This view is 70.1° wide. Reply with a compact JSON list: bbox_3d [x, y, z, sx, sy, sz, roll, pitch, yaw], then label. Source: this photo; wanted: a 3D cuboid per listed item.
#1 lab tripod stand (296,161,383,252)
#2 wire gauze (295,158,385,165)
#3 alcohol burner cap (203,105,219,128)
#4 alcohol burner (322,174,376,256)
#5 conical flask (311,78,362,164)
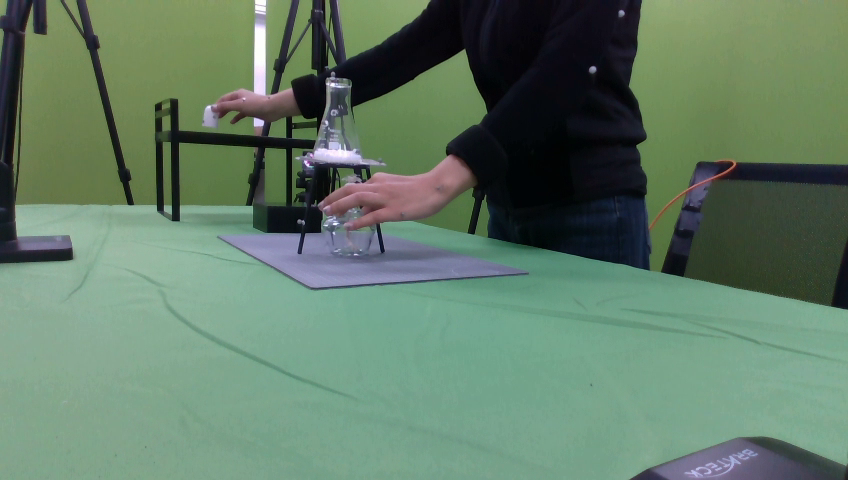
[{"bbox_3d":[-0.130,-0.050,0.903,0.148,0.131,0.148,4,9,0],"label":"lab tripod stand"},{"bbox_3d":[-0.128,-0.117,0.901,0.125,0.011,0.121,-2,8,-14],"label":"wire gauze"},{"bbox_3d":[-0.448,-0.261,1.276,0.034,0.048,0.034,7,8,-1],"label":"alcohol burner cap"},{"bbox_3d":[-0.108,-0.036,0.874,0.078,0.119,0.078,4,7,0],"label":"alcohol burner"},{"bbox_3d":[-0.127,-0.174,0.890,0.075,0.122,0.075,3,9,0],"label":"conical flask"}]
